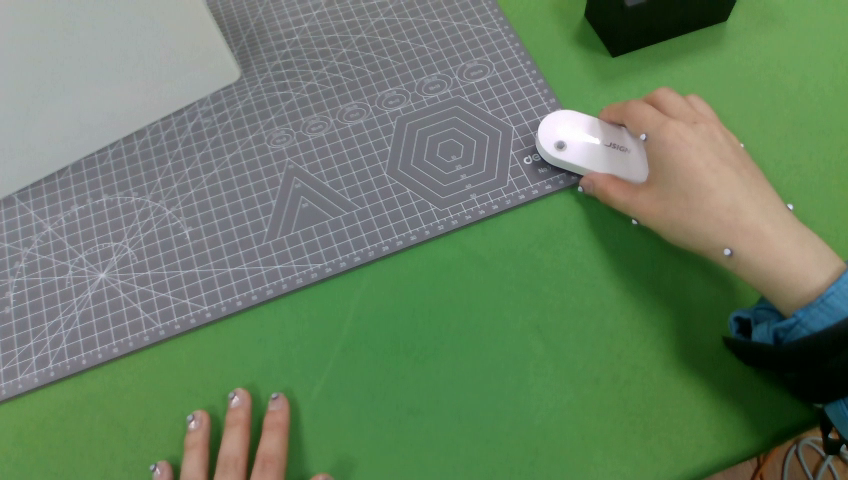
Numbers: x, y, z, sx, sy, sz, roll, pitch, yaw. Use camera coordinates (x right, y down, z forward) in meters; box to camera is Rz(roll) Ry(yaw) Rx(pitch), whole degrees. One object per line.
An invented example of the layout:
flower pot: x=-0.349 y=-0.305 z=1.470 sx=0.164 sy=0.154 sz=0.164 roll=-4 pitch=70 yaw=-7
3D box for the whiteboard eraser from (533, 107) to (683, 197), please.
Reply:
whiteboard eraser: x=0.125 y=-0.061 z=0.414 sx=0.101 sy=0.019 sz=0.041 roll=22 pitch=71 yaw=9

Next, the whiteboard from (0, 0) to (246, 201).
whiteboard: x=-0.295 y=-0.212 z=0.385 sx=0.217 sy=0.309 sz=0.142 roll=-30 pitch=46 yaw=-11
